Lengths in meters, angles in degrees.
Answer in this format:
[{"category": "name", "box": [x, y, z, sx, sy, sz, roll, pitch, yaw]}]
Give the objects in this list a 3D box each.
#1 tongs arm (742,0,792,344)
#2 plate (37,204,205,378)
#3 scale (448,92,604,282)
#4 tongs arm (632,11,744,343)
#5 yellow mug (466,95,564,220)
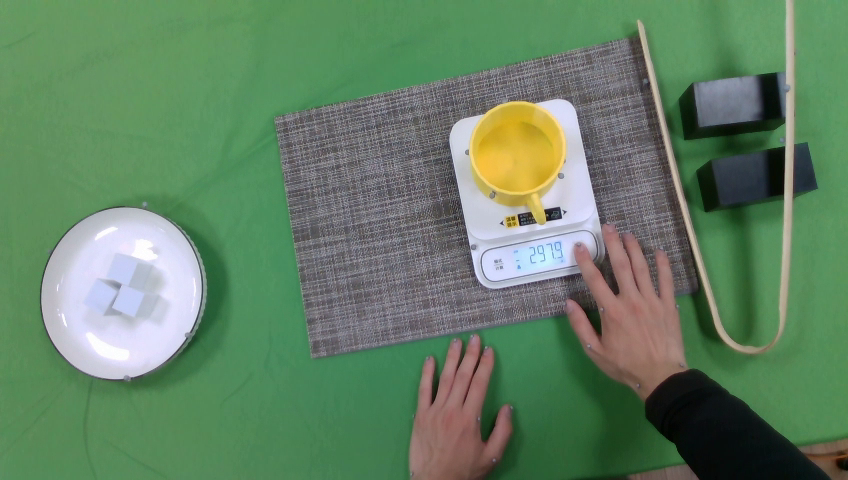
[{"category": "tongs arm", "box": [0.354, -0.084, 0.628, 0.050, 0.027, 0.384, -1, 91, 33]}, {"category": "plate", "box": [-0.361, 0.061, 0.736, 0.207, 0.039, 0.207, -1, 85, 6]}, {"category": "scale", "box": [0.115, -0.061, 0.691, 0.148, 0.031, 0.200, -12, 84, 6]}, {"category": "tongs arm", "box": [0.288, -0.075, 0.675, 0.028, 0.028, 0.386, -17, 82, 29]}, {"category": "yellow mug", "box": [0.102, -0.083, 0.647, 0.100, 0.064, 0.130, -22, 84, 3]}]
